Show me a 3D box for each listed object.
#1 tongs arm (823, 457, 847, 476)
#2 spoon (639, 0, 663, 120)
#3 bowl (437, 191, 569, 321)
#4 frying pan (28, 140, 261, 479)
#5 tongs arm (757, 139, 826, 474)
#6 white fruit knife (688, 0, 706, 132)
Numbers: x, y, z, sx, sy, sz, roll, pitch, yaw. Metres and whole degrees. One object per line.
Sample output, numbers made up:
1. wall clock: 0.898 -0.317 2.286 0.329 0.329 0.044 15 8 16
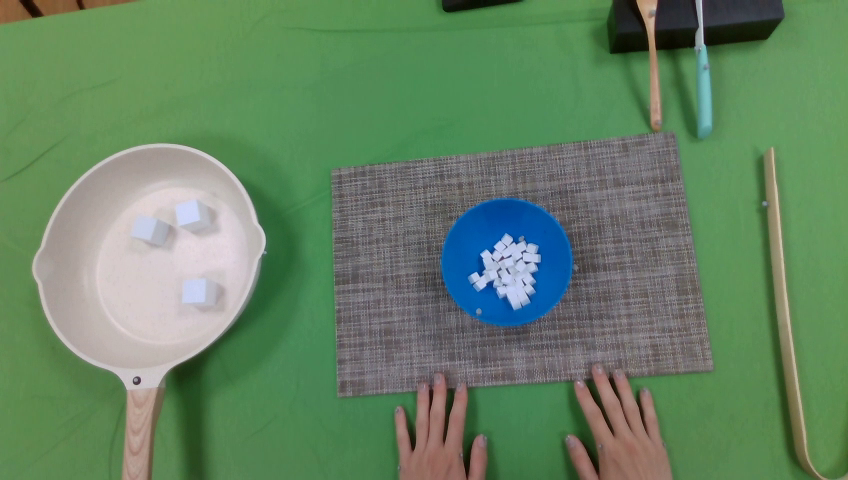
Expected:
1. tongs arm: 0.500 0.075 0.689 0.050 0.026 0.383 11 81 10
2. spoon: 0.279 -0.249 0.754 0.041 0.022 0.194 6 100 30
3. bowl: 0.094 0.025 0.722 0.151 0.077 0.150 -1 78 6
4. frying pan: -0.341 0.115 0.745 0.306 0.103 0.484 -6 69 6
5. tongs arm: 0.420 0.067 0.705 0.028 0.028 0.385 -2 78 5
6. white fruit knife: 0.335 -0.240 0.752 0.016 0.027 0.207 -5 92 1
